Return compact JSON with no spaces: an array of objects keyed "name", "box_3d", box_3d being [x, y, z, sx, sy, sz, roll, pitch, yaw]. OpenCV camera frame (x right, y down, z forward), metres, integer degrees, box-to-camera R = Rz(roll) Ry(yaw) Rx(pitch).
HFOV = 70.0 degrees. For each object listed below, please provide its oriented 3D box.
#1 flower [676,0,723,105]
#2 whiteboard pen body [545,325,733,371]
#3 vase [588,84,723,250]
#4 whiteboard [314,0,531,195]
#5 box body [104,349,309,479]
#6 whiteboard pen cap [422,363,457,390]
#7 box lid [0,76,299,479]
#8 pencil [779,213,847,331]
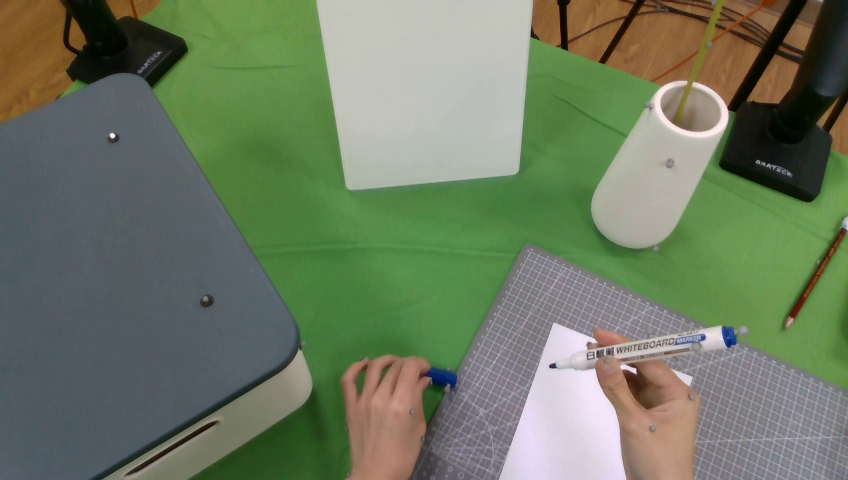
[{"name":"flower","box_3d":[0.242,-0.126,0.579,0.044,0.365,0.038,19,45,13]},{"name":"whiteboard pen body","box_3d":[0.153,0.083,0.448,0.140,0.017,0.017,-19,53,34]},{"name":"vase","box_3d":[0.241,-0.072,0.644,0.098,0.201,0.097,0,59,0]},{"name":"whiteboard","box_3d":[-0.004,-0.226,0.698,0.217,0.308,0.142,-5,42,-3]},{"name":"box body","box_3d":[-0.301,0.056,0.583,0.254,0.161,0.361,-31,66,-16]},{"name":"whiteboard pen cap","box_3d":[0.016,0.142,0.622,0.033,0.018,0.018,31,64,0]},{"name":"box lid","box_3d":[-0.301,0.018,0.518,0.263,0.015,0.368,-31,66,-17]},{"name":"pencil","box_3d":[0.452,0.034,0.697,0.012,0.012,0.193,37,68,18]}]
